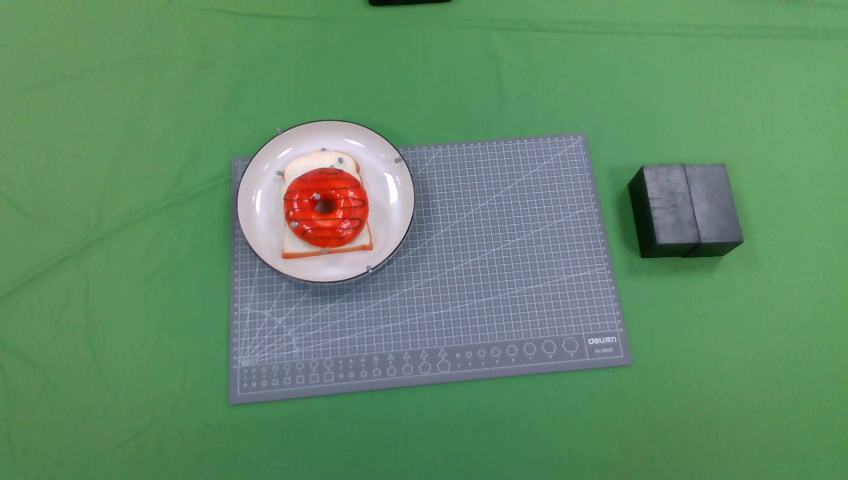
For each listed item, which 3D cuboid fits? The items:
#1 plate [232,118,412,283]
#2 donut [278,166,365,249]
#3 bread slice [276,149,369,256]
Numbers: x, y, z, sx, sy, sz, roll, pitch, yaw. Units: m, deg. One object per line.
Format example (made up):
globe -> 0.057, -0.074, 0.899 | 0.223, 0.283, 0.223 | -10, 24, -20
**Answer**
plate -> -0.118, -0.045, 0.720 | 0.209, 0.038, 0.207 | 1, 71, -2
donut -> -0.116, -0.037, 0.688 | 0.099, 0.048, 0.098 | 2, 73, -5
bread slice -> -0.126, -0.048, 0.722 | 0.105, 0.019, 0.130 | -7, 72, -6
